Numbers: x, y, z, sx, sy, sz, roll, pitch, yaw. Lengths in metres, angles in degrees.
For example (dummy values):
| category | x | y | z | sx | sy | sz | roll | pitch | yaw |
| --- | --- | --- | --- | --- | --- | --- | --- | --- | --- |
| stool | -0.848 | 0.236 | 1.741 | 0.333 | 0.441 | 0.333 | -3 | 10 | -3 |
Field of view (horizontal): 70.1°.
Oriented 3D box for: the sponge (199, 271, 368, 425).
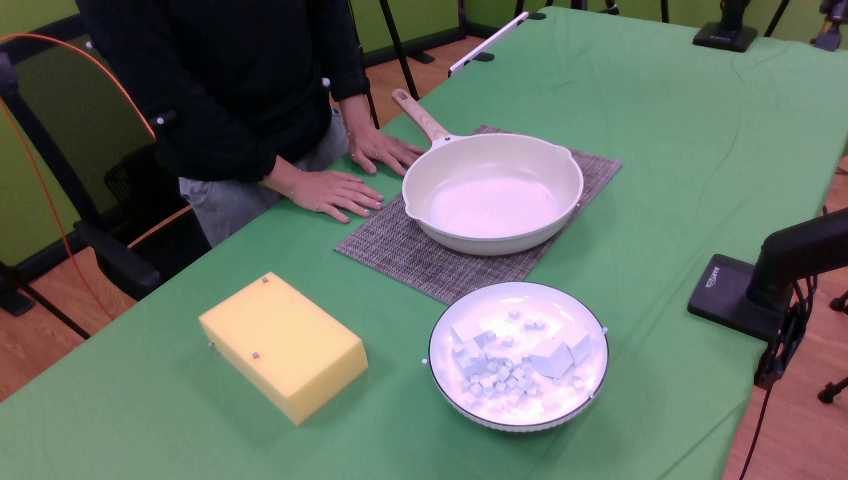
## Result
| category | x | y | z | sx | sy | sz | roll | pitch | yaw |
| --- | --- | --- | --- | --- | --- | --- | --- | --- | --- |
| sponge | -0.189 | 0.136 | 0.807 | 0.205 | 0.061 | 0.118 | 29 | 52 | 35 |

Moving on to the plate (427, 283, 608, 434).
| category | x | y | z | sx | sy | sz | roll | pitch | yaw |
| --- | --- | --- | --- | --- | --- | --- | --- | --- | --- |
| plate | 0.108 | 0.137 | 0.708 | 0.207 | 0.039 | 0.206 | -4 | 42 | 4 |

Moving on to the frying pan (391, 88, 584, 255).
| category | x | y | z | sx | sy | sz | roll | pitch | yaw |
| --- | --- | --- | --- | --- | --- | --- | --- | --- | --- |
| frying pan | 0.063 | -0.143 | 1.056 | 0.308 | 0.103 | 0.483 | -22 | 51 | -18 |
